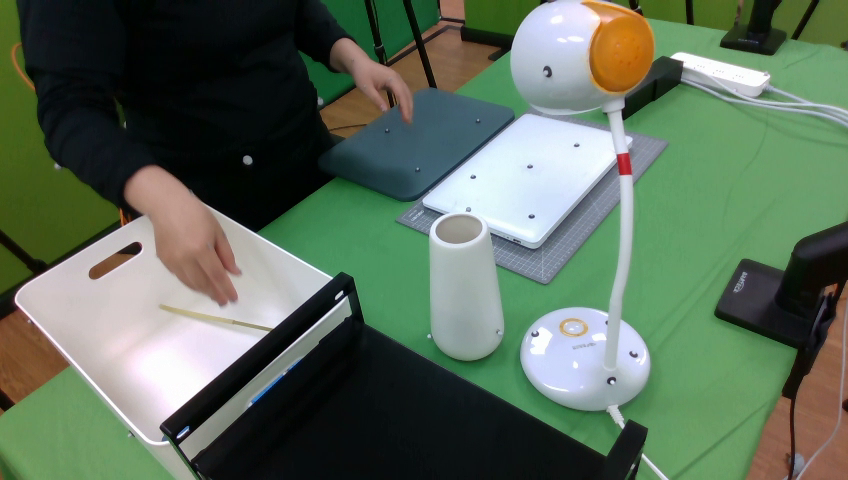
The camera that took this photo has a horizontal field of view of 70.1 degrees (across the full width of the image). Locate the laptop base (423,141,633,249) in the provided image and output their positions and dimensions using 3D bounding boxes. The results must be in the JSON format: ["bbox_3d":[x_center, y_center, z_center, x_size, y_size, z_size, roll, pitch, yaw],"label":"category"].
[{"bbox_3d":[0.194,-0.116,1.087,0.233,0.023,0.355,21,47,34],"label":"laptop base"}]

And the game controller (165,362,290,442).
[{"bbox_3d":[-0.234,0.210,0.736,0.096,0.052,0.155,27,52,32],"label":"game controller"}]

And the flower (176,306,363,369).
[{"bbox_3d":[-0.233,0.121,0.832,0.359,0.044,0.038,7,-2,33],"label":"flower"}]

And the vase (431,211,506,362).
[{"bbox_3d":[0.054,0.062,0.757,0.098,0.201,0.097,-3,40,3],"label":"vase"}]

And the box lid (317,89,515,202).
[{"bbox_3d":[-0.009,-0.207,1.236,0.261,0.015,0.372,23,49,32],"label":"box lid"}]

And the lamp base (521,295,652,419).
[{"bbox_3d":[0.201,0.095,0.710,0.161,0.181,0.177,-16,43,-10],"label":"lamp base"}]

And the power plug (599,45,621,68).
[{"bbox_3d":[0.437,-0.422,1.412,0.053,0.035,0.072,-18,75,-47],"label":"power plug"}]

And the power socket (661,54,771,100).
[{"bbox_3d":[0.615,-0.348,1.285,0.072,0.033,0.225,-36,48,-29],"label":"power socket"}]

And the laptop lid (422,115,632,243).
[{"bbox_3d":[0.190,-0.126,1.081,0.239,0.013,0.358,23,48,34],"label":"laptop lid"}]

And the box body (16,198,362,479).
[{"bbox_3d":[-0.285,0.123,0.766,0.361,0.161,0.255,25,49,33],"label":"box body"}]

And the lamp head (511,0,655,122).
[{"bbox_3d":[0.155,-0.168,0.564,0.113,0.113,0.122,-18,23,-12],"label":"lamp head"}]

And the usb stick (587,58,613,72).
[{"bbox_3d":[0.401,-0.399,1.381,0.059,0.027,0.021,0,49,21],"label":"usb stick"}]

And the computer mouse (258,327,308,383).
[{"bbox_3d":[-0.160,0.157,0.792,0.116,0.041,0.063,27,47,23],"label":"computer mouse"}]
